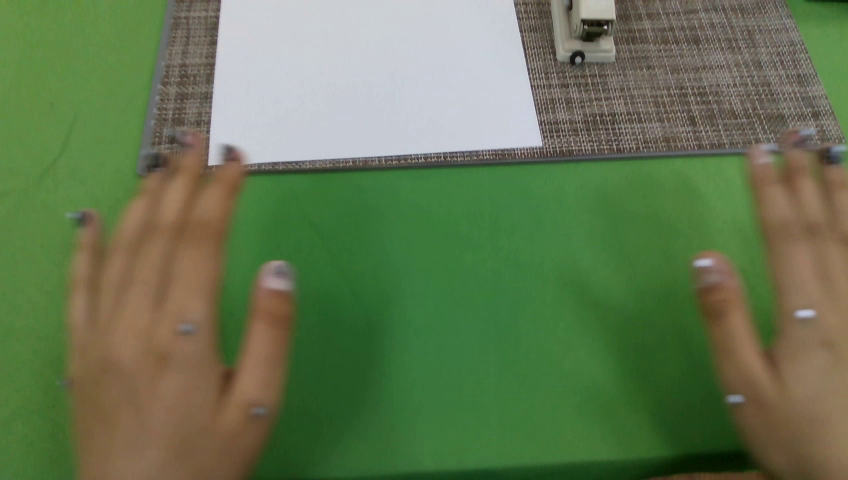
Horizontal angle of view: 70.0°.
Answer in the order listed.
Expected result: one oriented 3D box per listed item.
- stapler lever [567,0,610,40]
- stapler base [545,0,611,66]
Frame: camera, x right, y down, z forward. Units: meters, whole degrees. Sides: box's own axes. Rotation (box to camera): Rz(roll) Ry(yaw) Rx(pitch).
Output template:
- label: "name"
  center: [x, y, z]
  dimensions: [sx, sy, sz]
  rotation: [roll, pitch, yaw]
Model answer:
- label: "stapler lever"
  center: [0.111, -0.193, 0.418]
  dimensions: [0.027, 0.040, 0.117]
  rotation: [-1, 65, 2]
- label: "stapler base"
  center: [0.110, -0.184, 0.441]
  dimensions: [0.041, 0.024, 0.129]
  rotation: [-1, 65, 1]
